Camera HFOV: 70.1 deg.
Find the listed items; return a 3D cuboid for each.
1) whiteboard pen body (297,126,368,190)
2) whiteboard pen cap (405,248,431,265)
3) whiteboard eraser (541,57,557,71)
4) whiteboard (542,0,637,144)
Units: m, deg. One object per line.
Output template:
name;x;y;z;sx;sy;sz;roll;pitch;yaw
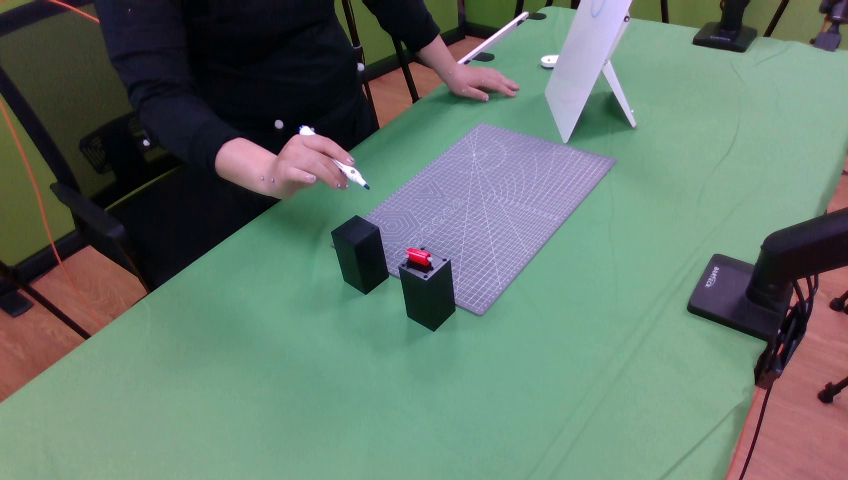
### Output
whiteboard pen body;-0.120;-0.107;0.795;0.017;0.017;0.139;-35;64;-29
whiteboard pen cap;-0.008;0.021;0.794;0.032;0.017;0.017;17;46;29
whiteboard eraser;0.323;-0.412;1.407;0.101;0.019;0.041;1;42;11
whiteboard;0.366;-0.351;1.160;0.144;0.305;0.216;10;39;-10
